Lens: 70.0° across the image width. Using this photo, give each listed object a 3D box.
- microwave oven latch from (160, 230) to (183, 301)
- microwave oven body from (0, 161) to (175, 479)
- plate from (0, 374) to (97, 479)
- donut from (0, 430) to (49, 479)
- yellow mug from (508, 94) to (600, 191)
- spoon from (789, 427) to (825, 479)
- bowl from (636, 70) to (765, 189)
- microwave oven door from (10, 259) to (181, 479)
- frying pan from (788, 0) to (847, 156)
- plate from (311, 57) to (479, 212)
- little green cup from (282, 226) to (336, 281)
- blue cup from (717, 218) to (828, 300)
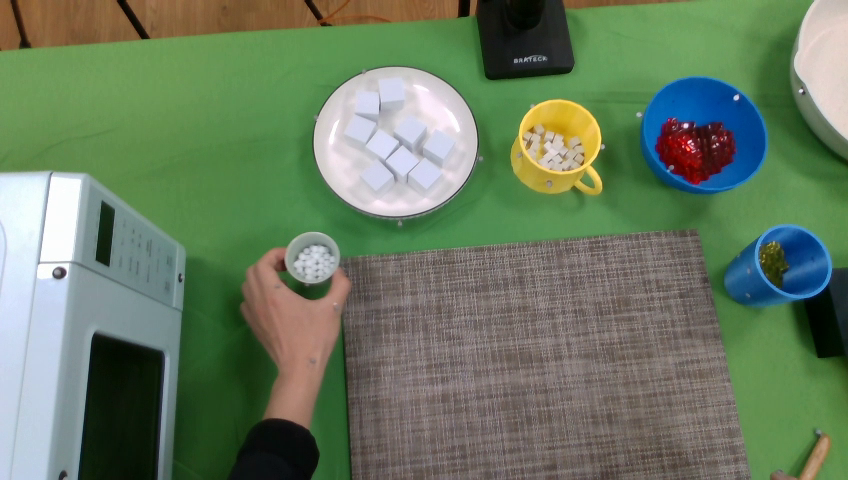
[{"bbox_3d":[-0.296,0.030,0.697,0.030,0.029,0.078,-1,76,-2],"label":"microwave oven latch"},{"bbox_3d":[-0.436,0.179,0.554,0.326,0.261,0.439,-2,76,-3],"label":"microwave oven body"},{"bbox_3d":[-0.424,0.238,0.593,0.209,0.038,0.208,1,77,-3],"label":"plate"},{"bbox_3d":[-0.412,0.233,0.581,0.099,0.048,0.098,1,76,-4],"label":"donut"},{"bbox_3d":[0.171,-0.112,0.754,0.100,0.064,0.130,-41,81,-11],"label":"yellow mug"},{"bbox_3d":[0.404,0.289,0.678,0.041,0.022,0.193,36,77,21],"label":"spoon"},{"bbox_3d":[0.330,-0.125,0.757,0.151,0.077,0.150,0,76,-1],"label":"bowl"},{"bbox_3d":[-0.288,0.214,0.544,0.039,0.245,0.354,-2,75,-2],"label":"microwave oven door"},{"bbox_3d":[0.615,-0.123,0.751,0.307,0.103,0.484,0,67,-1],"label":"frying pan"},{"bbox_3d":[-0.036,-0.131,0.767,0.208,0.039,0.206,0,75,-1],"label":"plate"},{"bbox_3d":[-0.130,0.018,0.700,0.061,0.039,0.061,1,73,-2],"label":"little green cup"},{"bbox_3d":[0.395,0.031,0.705,0.093,0.100,0.092,1,73,-2],"label":"blue cup"}]
